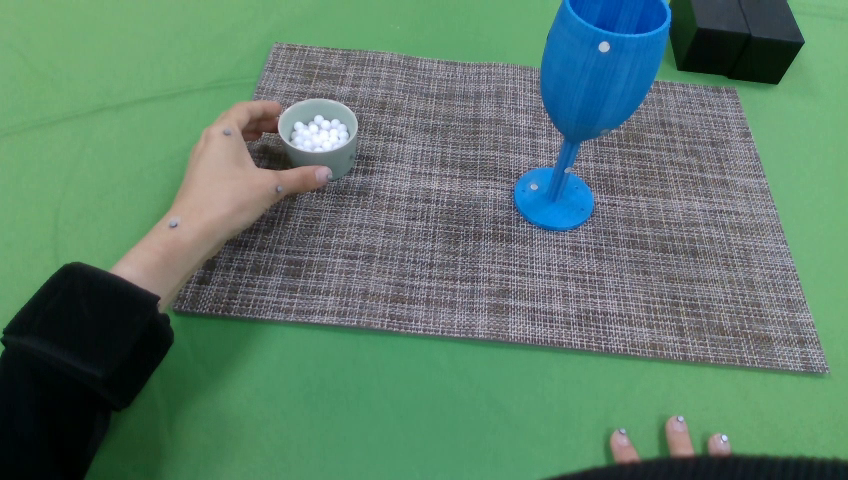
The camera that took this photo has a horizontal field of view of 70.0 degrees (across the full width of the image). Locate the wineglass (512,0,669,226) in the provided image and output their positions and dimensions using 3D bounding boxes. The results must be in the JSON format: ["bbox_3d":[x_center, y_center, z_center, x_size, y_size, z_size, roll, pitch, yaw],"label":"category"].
[{"bbox_3d":[0.107,-0.088,0.419,0.074,0.173,0.073,2,54,-2],"label":"wineglass"}]

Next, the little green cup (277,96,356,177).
[{"bbox_3d":[-0.085,-0.081,0.485,0.061,0.039,0.061,2,53,-2],"label":"little green cup"}]
